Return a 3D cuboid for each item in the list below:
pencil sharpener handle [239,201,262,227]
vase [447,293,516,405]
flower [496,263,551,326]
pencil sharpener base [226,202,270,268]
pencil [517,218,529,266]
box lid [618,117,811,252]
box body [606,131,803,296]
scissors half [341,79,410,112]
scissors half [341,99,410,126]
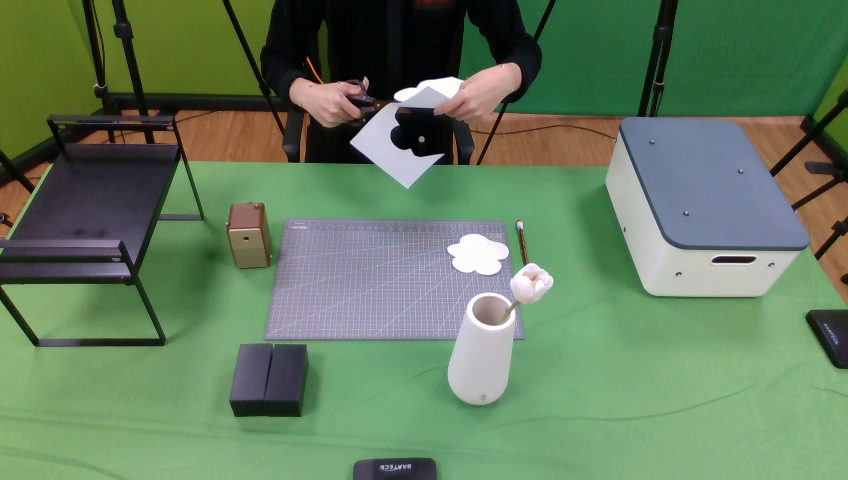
[{"bbox_3d":[-0.325,-0.055,1.150,0.036,0.068,0.030,-13,46,3],"label":"pencil sharpener handle"},{"bbox_3d":[0.091,0.169,0.921,0.098,0.201,0.097,3,47,-3],"label":"vase"},{"bbox_3d":[0.102,0.120,0.853,0.044,0.363,0.038,-2,64,-10],"label":"flower"},{"bbox_3d":[-0.323,-0.010,1.123,0.061,0.107,0.076,-3,46,-7],"label":"pencil sharpener base"},{"bbox_3d":[0.200,0.027,1.196,0.012,0.012,0.193,1,48,-3],"label":"pencil"},{"bbox_3d":[0.534,-0.117,1.149,0.263,0.015,0.369,0,47,-3],"label":"box lid"},{"bbox_3d":[0.530,-0.067,1.204,0.254,0.161,0.361,1,46,-4],"label":"box body"},{"bbox_3d":[-0.090,-0.258,1.098,0.174,0.040,0.013,29,33,32],"label":"scissors half"},{"bbox_3d":[-0.090,-0.236,1.104,0.174,0.040,0.013,-3,9,42],"label":"scissors half"}]
